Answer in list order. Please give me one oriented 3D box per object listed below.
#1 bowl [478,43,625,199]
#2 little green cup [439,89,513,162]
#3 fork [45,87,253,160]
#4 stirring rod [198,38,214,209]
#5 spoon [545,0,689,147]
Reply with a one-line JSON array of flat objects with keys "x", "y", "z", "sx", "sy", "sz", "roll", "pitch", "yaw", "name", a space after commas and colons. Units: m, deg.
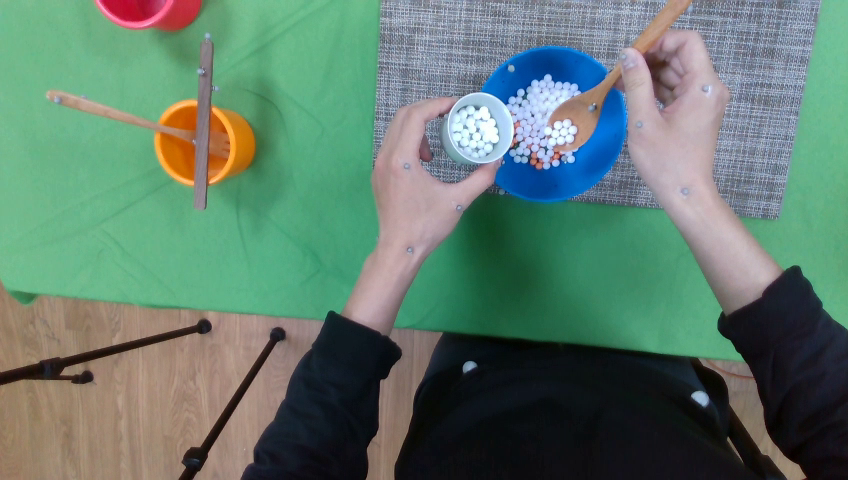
[{"x": 0.124, "y": -0.121, "z": 0.627, "sx": 0.151, "sy": 0.076, "sz": 0.152, "roll": 1, "pitch": 102, "yaw": 7, "name": "bowl"}, {"x": 0.043, "y": -0.098, "z": 0.535, "sx": 0.062, "sy": 0.038, "sz": 0.061, "roll": 1, "pitch": 87, "yaw": -17, "name": "little green cup"}, {"x": -0.282, "y": -0.122, "z": 0.644, "sx": 0.209, "sy": 0.018, "sz": 0.028, "roll": 13, "pitch": 110, "yaw": -40, "name": "fork"}, {"x": -0.229, "y": -0.120, "z": 0.635, "sx": 0.014, "sy": 0.006, "sz": 0.176, "roll": 7, "pitch": 102, "yaw": 7, "name": "stirring rod"}, {"x": 0.158, "y": -0.140, "z": 0.490, "sx": 0.041, "sy": 0.021, "sz": 0.194, "roll": 45, "pitch": 147, "yaw": 5, "name": "spoon"}]
